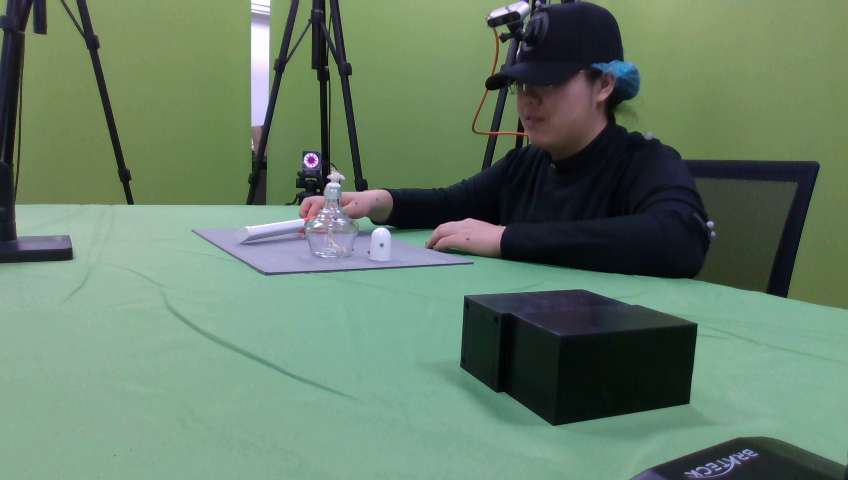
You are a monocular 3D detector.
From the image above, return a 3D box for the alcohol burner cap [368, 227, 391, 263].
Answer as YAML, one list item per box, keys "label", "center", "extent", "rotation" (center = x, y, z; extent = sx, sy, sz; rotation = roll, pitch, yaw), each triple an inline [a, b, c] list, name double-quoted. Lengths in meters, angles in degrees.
- label: "alcohol burner cap"
  center: [-0.060, 0.006, 0.836]
  extent: [0.034, 0.048, 0.034]
  rotation: [3, 7, 0]

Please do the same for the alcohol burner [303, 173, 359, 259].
- label: "alcohol burner"
  center: [-0.130, -0.034, 0.850]
  extent: [0.078, 0.119, 0.078]
  rotation: [2, 5, 0]

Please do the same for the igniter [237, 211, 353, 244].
- label: "igniter"
  center: [-0.208, -0.025, 1.036]
  extent: [0.057, 0.025, 0.278]
  rotation: [-30, -7, 29]
